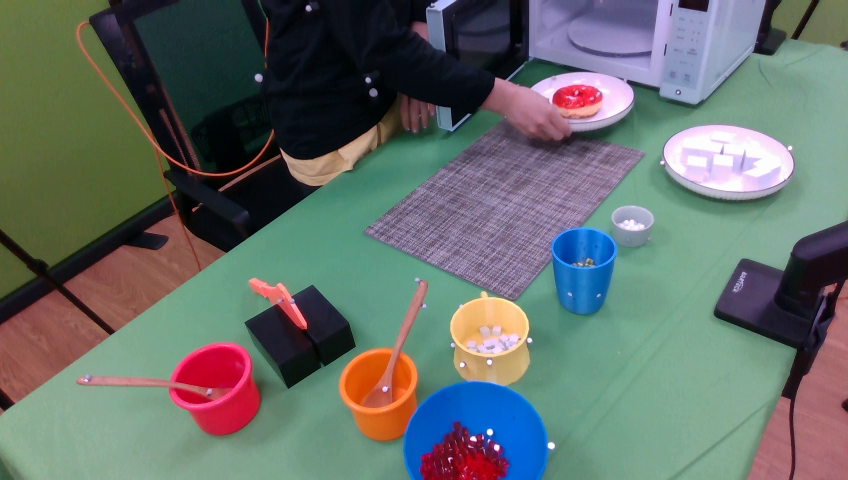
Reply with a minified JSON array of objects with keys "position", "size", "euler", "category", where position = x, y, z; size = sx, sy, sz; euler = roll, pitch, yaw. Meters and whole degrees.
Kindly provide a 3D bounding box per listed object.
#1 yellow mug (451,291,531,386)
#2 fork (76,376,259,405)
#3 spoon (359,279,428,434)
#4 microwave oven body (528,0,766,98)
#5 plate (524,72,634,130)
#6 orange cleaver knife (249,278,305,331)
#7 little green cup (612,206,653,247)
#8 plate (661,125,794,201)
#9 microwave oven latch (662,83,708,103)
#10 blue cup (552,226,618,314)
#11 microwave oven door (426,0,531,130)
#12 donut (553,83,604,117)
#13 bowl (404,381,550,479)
[{"position":[0.086,0.120,0.786],"size":[0.100,0.064,0.130],"euler":[-7,39,1],"category":"yellow mug"},{"position":[-0.295,0.176,0.716],"size":[0.209,0.018,0.028],"euler":[19,27,-37],"category":"fork"},{"position":[-0.032,0.138,0.719],"size":[0.041,0.193,0.022],"euler":[22,4,30],"category":"spoon"},{"position":[0.472,-0.513,1.317],"size":[0.438,0.261,0.327],"euler":[26,51,34],"category":"microwave oven body"},{"position":[0.302,-0.268,1.183],"size":[0.209,0.038,0.208],"euler":[-5,39,5],"category":"plate"},{"position":[-0.210,0.089,0.856],"size":[0.012,0.077,0.210],"euler":[-28,15,-25],"category":"orange cleaver knife"},{"position":[0.321,-0.019,0.936],"size":[0.061,0.039,0.061],"euler":[-4,41,4],"category":"little green cup"},{"position":[0.513,-0.128,1.035],"size":[0.207,0.039,0.206],"euler":[-4,40,4],"category":"plate"},{"position":[0.518,-0.296,1.204],"size":[0.078,0.029,0.030],"euler":[28,52,36],"category":"microwave oven latch"},{"position":[0.218,0.047,0.825],"size":[0.092,0.100,0.092],"euler":[-6,40,5],"category":"blue cup"},{"position":[0.125,-0.418,1.250],"size":[0.039,0.245,0.356],"euler":[19,47,29],"category":"microwave oven door"},{"position":[0.298,-0.273,1.172],"size":[0.099,0.048,0.098],"euler":[-5,37,4],"category":"donut"},{"position":[0.058,0.235,0.645],"size":[0.151,0.077,0.150],"euler":[-4,39,4],"category":"bowl"}]
